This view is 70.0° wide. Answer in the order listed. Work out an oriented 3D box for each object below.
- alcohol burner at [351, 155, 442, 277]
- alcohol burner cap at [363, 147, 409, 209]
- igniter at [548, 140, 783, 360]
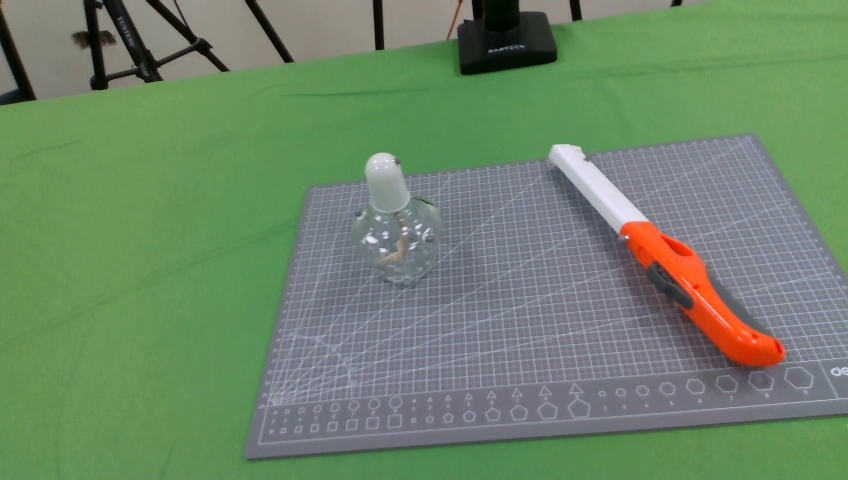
[{"bbox_3d":[-0.025,-0.025,0.498,0.078,0.120,0.077,-5,46,5],"label":"alcohol burner"},{"bbox_3d":[-0.031,-0.051,0.473,0.034,0.048,0.033,-5,48,5],"label":"alcohol burner cap"},{"bbox_3d":[0.179,-0.007,0.493,0.057,0.025,0.273,-3,39,-22],"label":"igniter"}]
